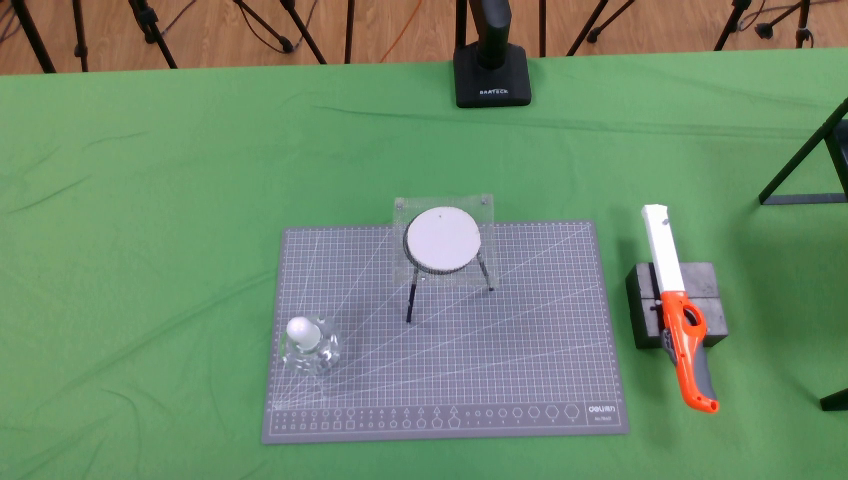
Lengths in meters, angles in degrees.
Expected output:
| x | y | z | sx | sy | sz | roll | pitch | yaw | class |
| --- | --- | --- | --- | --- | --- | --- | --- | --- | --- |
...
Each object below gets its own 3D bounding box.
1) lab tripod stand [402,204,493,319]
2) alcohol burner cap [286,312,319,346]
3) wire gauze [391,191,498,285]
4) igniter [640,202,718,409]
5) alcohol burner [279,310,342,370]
| x | y | z | sx | sy | sz | roll | pitch | yaw | class |
| --- | --- | --- | --- | --- | --- | --- | --- | --- | --- |
| 0.018 | 0.022 | 0.773 | 0.148 | 0.132 | 0.147 | -1 | 63 | 2 | lab tripod stand |
| -0.144 | 0.101 | 0.705 | 0.034 | 0.048 | 0.033 | -4 | 63 | 8 | alcohol burner cap |
| 0.023 | -0.005 | 0.710 | 0.125 | 0.011 | 0.120 | 1 | 64 | 1 | wire gauze |
| 0.314 | 0.073 | 0.757 | 0.057 | 0.025 | 0.274 | 0 | 61 | -3 | igniter |
| -0.142 | 0.117 | 0.738 | 0.078 | 0.120 | 0.077 | 0 | 66 | 1 | alcohol burner |
